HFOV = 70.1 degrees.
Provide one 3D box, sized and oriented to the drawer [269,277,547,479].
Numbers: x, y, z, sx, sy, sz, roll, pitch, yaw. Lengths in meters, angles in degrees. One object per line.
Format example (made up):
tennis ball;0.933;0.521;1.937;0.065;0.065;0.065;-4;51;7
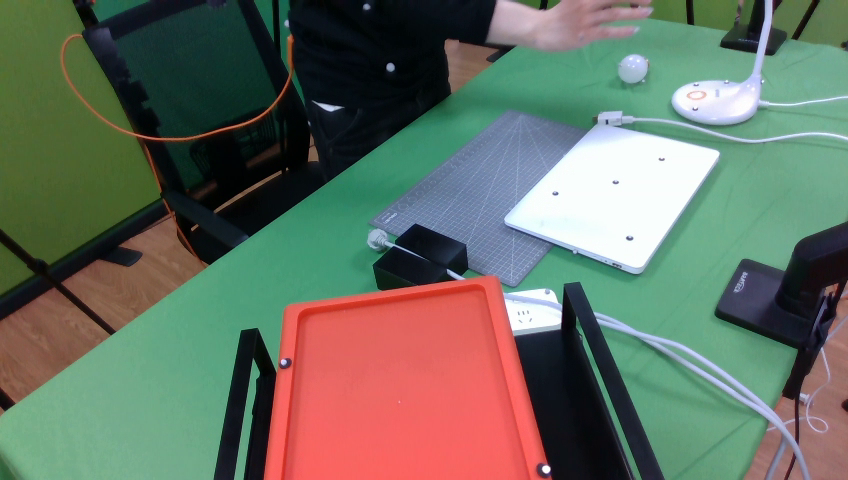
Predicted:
drawer;-0.018;0.137;0.493;0.195;0.073;0.210;-7;41;-1

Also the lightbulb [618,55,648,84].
lightbulb;0.464;-0.376;1.324;0.059;0.059;0.108;22;34;30

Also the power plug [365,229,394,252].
power plug;-0.068;0.010;0.954;0.035;0.053;0.072;-40;52;1

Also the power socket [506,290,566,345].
power socket;0.081;0.112;0.822;0.227;0.033;0.072;-7;41;0

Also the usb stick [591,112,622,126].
usb stick;0.360;-0.239;1.197;0.059;0.021;0.027;4;41;27

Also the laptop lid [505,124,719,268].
laptop lid;0.323;-0.093;1.021;0.240;0.013;0.358;23;49;32

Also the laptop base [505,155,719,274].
laptop base;0.326;-0.083;1.028;0.233;0.023;0.355;21;48;32

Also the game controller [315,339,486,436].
game controller;-0.021;0.119;0.533;0.155;0.052;0.096;-3;39;1

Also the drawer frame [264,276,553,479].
drawer frame;-0.016;0.137;0.490;0.202;0.083;0.212;-8;41;-1

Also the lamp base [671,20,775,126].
lamp base;0.581;-0.332;1.153;0.179;0.181;0.160;2;42;7
